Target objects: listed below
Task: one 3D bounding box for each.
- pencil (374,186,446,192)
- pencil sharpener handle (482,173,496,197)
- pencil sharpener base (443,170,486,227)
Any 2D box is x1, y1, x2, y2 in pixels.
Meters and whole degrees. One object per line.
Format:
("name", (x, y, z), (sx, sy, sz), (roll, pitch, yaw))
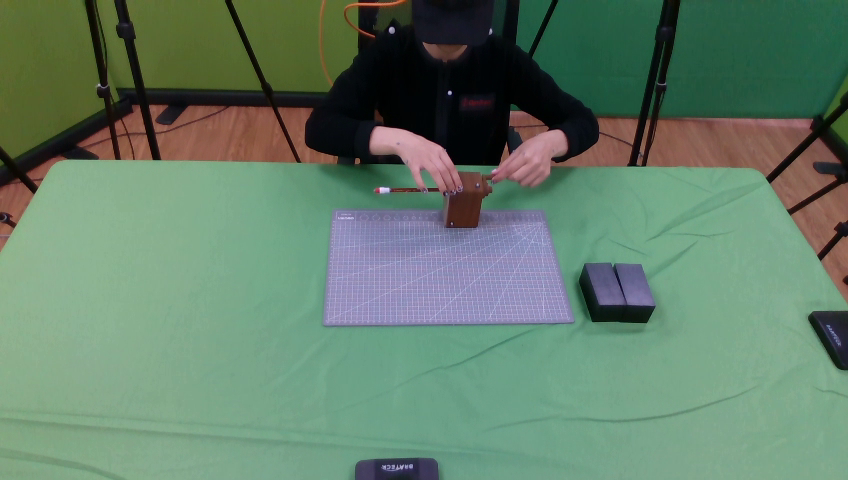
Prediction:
("pencil", (-0.002, -0.100, 1.197), (0.194, 0.012, 0.012), (-1, 46, -3))
("pencil sharpener handle", (0.132, -0.113, 1.215), (0.031, 0.036, 0.067), (0, 44, -4))
("pencil sharpener base", (0.080, -0.082, 1.220), (0.077, 0.107, 0.061), (0, 46, -5))
